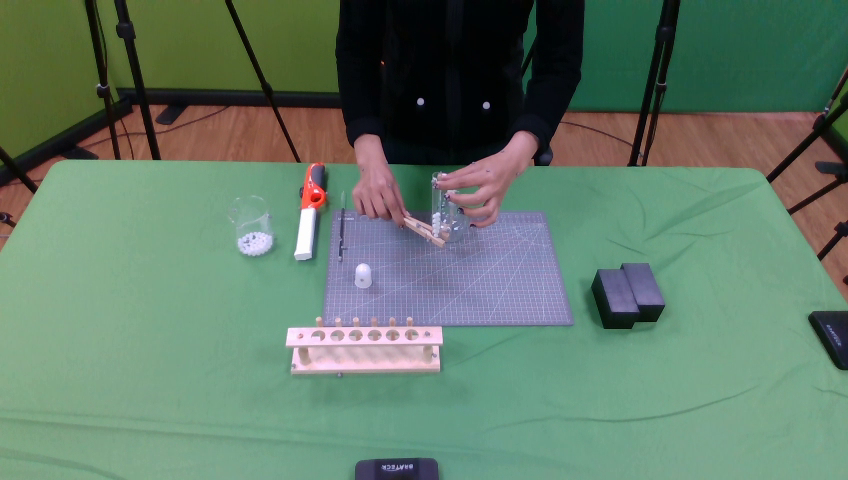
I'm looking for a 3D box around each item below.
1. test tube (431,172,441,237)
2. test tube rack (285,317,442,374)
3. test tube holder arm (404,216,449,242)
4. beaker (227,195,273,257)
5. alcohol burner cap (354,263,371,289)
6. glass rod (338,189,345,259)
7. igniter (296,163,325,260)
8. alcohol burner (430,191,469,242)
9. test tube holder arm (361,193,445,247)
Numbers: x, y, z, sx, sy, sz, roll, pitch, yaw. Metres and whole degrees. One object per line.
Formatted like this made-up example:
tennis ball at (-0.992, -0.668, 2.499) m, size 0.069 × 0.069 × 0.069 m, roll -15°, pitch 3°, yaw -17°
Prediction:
test tube at (0.020, -0.056, 1.014) m, size 0.017 × 0.151 × 0.017 m, roll 0°, pitch 50°, yaw 0°
test tube rack at (-0.095, 0.166, 0.988) m, size 0.242 × 0.085 × 0.066 m, roll 0°, pitch 46°, yaw -4°
test tube holder arm at (0.002, -0.020, 1.079) m, size 0.088 × 0.015 × 0.010 m, roll 23°, pitch 50°, yaw 8°
beaker at (-0.326, -0.022, 1.142) m, size 0.074 × 0.101 × 0.083 m, roll 10°, pitch 47°, yaw 6°
alcohol burner cap at (-0.113, 0.063, 1.111) m, size 0.034 × 0.048 × 0.033 m, roll 2°, pitch 45°, yaw -2°
glass rod at (-0.166, -0.036, 1.227) m, size 0.008 × 0.008 × 0.198 m, roll 0°, pitch 46°, yaw -4°
igniter at (-0.233, -0.067, 1.243) m, size 0.057 × 0.025 × 0.274 m, roll -7°, pitch 46°, yaw 3°
alcohol burner at (0.052, -0.053, 1.185) m, size 0.078 × 0.119 × 0.077 m, roll 2°, pitch 48°, yaw -2°
test tube holder arm at (-0.039, -0.037, 1.085) m, size 0.178 × 0.015 × 0.013 m, roll 30°, pitch 51°, yaw 14°
